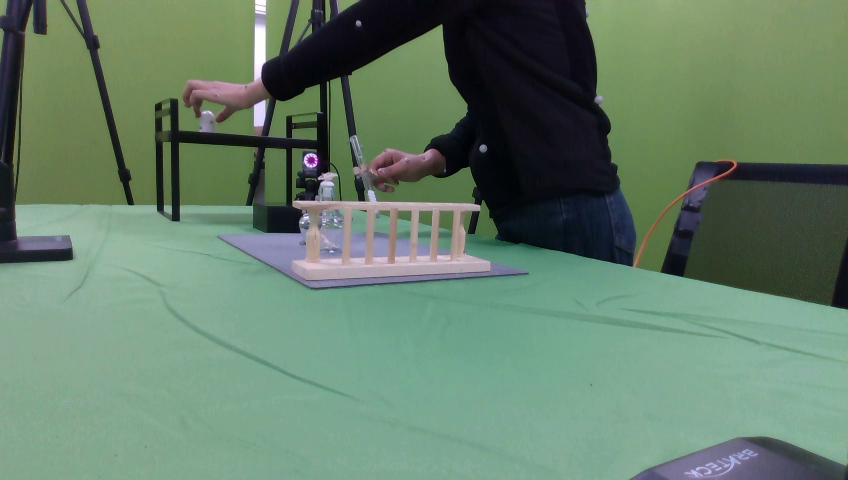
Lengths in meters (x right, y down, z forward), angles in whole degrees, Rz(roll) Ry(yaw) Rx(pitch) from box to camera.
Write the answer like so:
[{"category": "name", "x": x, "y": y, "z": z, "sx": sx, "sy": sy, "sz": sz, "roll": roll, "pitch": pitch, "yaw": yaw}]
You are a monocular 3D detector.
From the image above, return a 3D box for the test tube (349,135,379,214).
[{"category": "test tube", "x": -0.106, "y": -0.117, "z": 1.080, "sx": 0.017, "sy": 0.150, "sz": 0.017, "roll": -17, "pitch": -7, "yaw": -2}]

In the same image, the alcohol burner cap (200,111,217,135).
[{"category": "alcohol burner cap", "x": -0.448, "y": -0.244, "z": 1.254, "sx": 0.034, "sy": 0.048, "sz": 0.034, "roll": 0, "pitch": 6, "yaw": 0}]

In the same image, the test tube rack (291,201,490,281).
[{"category": "test tube rack", "x": -0.035, "y": -0.002, "z": 0.745, "sx": 0.243, "sy": 0.085, "sz": 0.066, "roll": -1, "pitch": 8, "yaw": -28}]

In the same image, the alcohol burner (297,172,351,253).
[{"category": "alcohol burner", "x": -0.146, "y": -0.041, "z": 0.894, "sx": 0.078, "sy": 0.119, "sz": 0.078, "roll": 5, "pitch": 7, "yaw": 0}]

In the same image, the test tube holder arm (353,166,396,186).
[{"category": "test tube holder arm", "x": -0.091, "y": -0.120, "z": 1.147, "sx": 0.013, "sy": 0.015, "sz": 0.179, "roll": -13, "pitch": -7, "yaw": 17}]

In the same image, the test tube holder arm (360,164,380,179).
[{"category": "test tube holder arm", "x": -0.098, "y": -0.123, "z": 1.102, "sx": 0.010, "sy": 0.015, "sz": 0.088, "roll": -13, "pitch": -6, "yaw": 11}]
